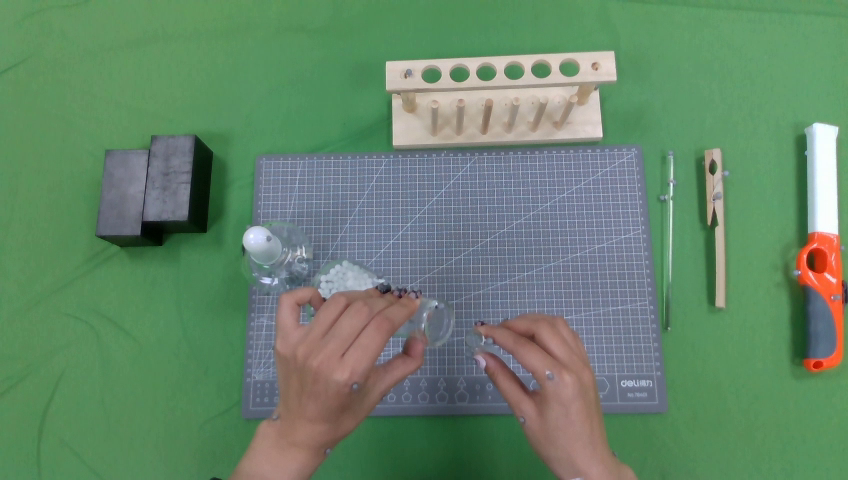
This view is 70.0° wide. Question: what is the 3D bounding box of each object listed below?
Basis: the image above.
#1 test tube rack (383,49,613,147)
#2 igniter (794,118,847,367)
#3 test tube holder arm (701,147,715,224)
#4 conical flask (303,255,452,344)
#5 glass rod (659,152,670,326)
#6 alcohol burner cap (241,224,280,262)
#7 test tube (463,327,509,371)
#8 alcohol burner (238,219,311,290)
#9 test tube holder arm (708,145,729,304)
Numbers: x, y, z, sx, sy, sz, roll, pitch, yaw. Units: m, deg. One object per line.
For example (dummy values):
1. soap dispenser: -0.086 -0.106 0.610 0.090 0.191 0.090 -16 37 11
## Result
1. test tube rack: 0.079 -0.156 0.678 0.242 0.085 0.066 -2 77 2
2. igniter: 0.429 0.000 0.657 0.057 0.025 0.275 9 78 -6
3. test tube holder arm: 0.321 -0.062 0.682 0.010 0.015 0.087 -8 74 38
4. conical flask: -0.035 0.055 0.498 0.121 0.076 0.075 8 74 39
5. glass rod: 0.268 -0.003 0.674 0.008 0.008 0.199 5 79 3
6. alcohol burner cap: -0.163 0.001 0.596 0.034 0.048 0.033 1 72 -1
7. test tube: 0.059 0.101 0.548 0.017 0.151 0.017 -6 69 15
8. alcohol burner: -0.161 0.011 0.631 0.078 0.120 0.077 -1 76 5
9. test tube holder arm: 0.324 -0.019 0.669 0.013 0.015 0.177 -10 74 37
